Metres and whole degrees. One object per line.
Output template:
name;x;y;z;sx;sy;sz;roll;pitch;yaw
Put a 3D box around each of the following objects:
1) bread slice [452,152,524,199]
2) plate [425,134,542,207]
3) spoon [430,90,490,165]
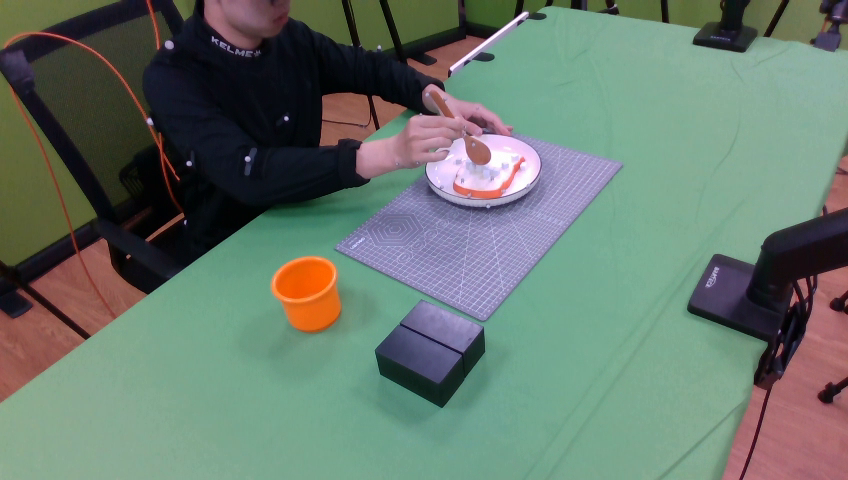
bread slice;0.112;-0.118;1.079;0.104;0.019;0.131;11;42;21
plate;0.106;-0.121;1.079;0.209;0.038;0.208;-4;40;4
spoon;0.059;-0.181;0.989;0.041;0.195;0.021;-13;60;24
